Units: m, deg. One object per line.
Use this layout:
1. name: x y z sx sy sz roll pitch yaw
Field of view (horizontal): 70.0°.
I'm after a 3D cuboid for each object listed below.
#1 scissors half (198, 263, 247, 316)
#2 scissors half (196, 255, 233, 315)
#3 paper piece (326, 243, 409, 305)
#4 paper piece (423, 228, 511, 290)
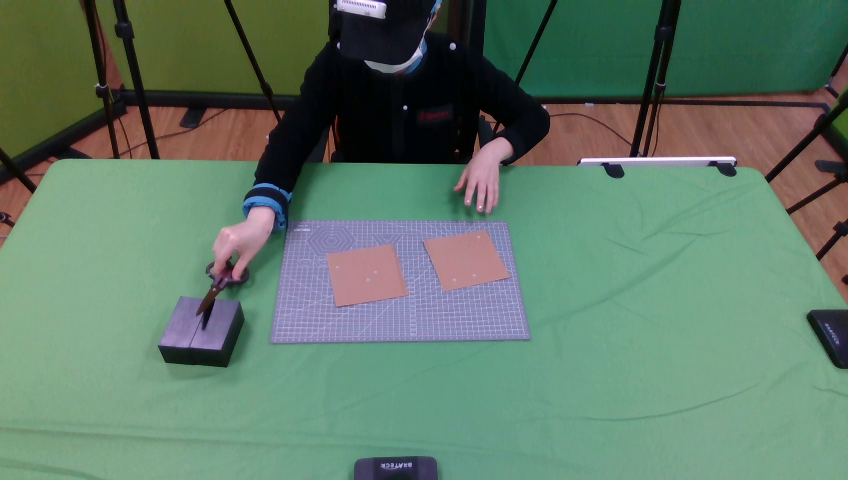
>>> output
1. scissors half: -0.349 0.086 1.050 0.040 0.013 0.174 34 24 -6
2. scissors half: -0.365 0.075 1.045 0.040 0.013 0.174 34 24 -21
3. paper piece: -0.108 0.061 1.135 0.136 0.004 0.134 -8 46 -12
4. paper piece: 0.082 0.034 1.176 0.138 0.009 0.135 -8 52 -15
